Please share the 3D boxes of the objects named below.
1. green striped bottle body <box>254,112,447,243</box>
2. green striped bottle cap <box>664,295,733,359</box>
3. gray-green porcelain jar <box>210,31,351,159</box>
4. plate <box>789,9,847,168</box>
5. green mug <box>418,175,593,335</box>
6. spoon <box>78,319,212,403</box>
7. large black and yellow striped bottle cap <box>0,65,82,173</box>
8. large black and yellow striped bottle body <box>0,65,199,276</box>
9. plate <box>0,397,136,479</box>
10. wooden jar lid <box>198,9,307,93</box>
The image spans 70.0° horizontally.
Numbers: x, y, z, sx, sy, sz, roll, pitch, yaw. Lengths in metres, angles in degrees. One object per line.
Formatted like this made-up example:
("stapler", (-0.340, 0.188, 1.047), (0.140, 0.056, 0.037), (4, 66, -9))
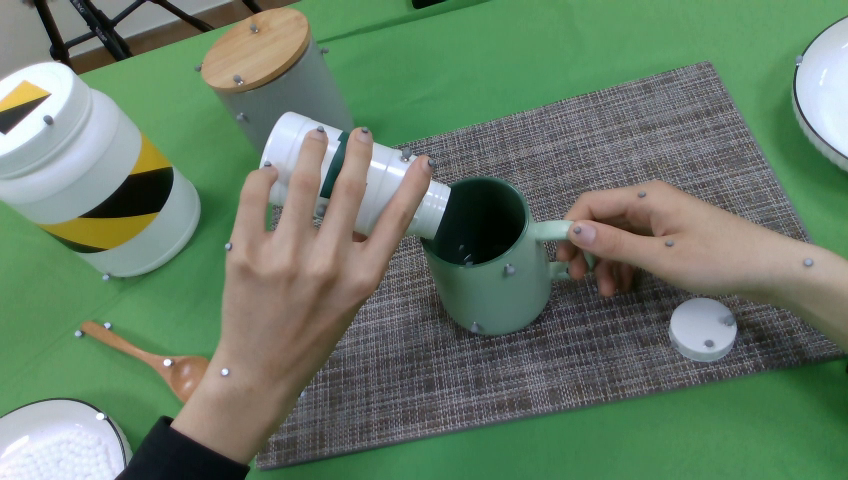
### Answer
("green striped bottle body", (-0.046, -0.038, 0.407), (0.119, 0.063, 0.063), (19, 62, -3))
("green striped bottle cap", (0.197, 0.062, 0.435), (0.044, 0.020, 0.044), (-9, 51, 11))
("gray-green porcelain jar", (-0.137, -0.133, 0.603), (0.105, 0.128, 0.105), (-9, 52, 12))
("plate", (0.401, -0.114, 0.474), (0.207, 0.039, 0.205), (-9, 56, 13))
("green mug", (0.062, 0.011, 0.455), (0.125, 0.106, 0.091), (-7, 56, 14))
("spoon", (-0.261, 0.102, 0.556), (0.192, 0.022, 0.041), (16, 83, 26))
("large black and yellow striped bottle cap", (-0.346, -0.104, 0.514), (0.115, 0.019, 0.114), (-8, 55, 12))
("large black and yellow striped bottle body", (-0.322, -0.061, 0.582), (0.130, 0.186, 0.129), (-8, 56, 13))
("plate", (-0.318, 0.230, 0.481), (0.209, 0.038, 0.207), (-8, 56, 12))
("wooden jar lid", (-0.154, -0.170, 0.554), (0.108, 0.021, 0.107), (-11, 54, 15))
